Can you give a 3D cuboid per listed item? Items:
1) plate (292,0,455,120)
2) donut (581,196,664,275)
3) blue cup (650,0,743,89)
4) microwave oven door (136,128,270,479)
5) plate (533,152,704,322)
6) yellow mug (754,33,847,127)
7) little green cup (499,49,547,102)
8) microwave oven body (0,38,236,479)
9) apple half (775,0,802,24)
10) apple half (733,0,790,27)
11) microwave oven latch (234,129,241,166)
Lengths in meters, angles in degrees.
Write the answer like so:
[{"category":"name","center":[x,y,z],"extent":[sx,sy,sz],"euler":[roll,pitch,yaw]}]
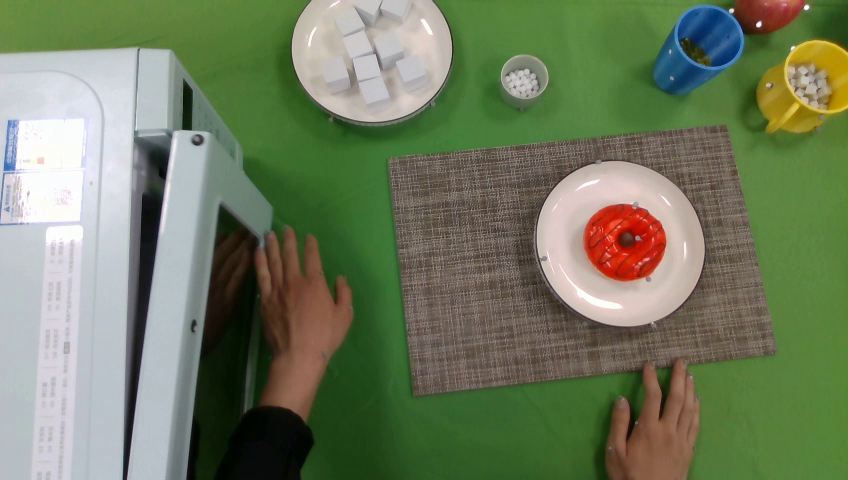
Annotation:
[{"category":"plate","center":[-0.064,-0.250,0.788],"extent":[0.208,0.039,0.206],"euler":[0,79,-2]},{"category":"donut","center":[0.240,-0.006,0.735],"extent":[0.099,0.048,0.098],"euler":[0,79,0]},{"category":"blue cup","center":[0.335,-0.240,0.767],"extent":[0.093,0.100,0.092],"euler":[0,80,-2]},{"category":"microwave oven door","center":[-0.207,0.100,0.592],"extent":[0.039,0.244,0.354],"euler":[2,79,-1]},{"category":"plate","center":[0.235,-0.003,0.745],"extent":[0.209,0.038,0.208],"euler":[0,79,-2]},{"category":"yellow mug","center":[0.484,-0.195,0.781],"extent":[0.100,0.064,0.130],"euler":[41,81,6]},{"category":"little green cup","center":[0.126,-0.211,0.787],"extent":[0.061,0.039,0.061],"euler":[0,78,-1]},{"category":"microwave oven body","center":[-0.372,0.068,0.598],"extent":[0.326,0.261,0.439],"euler":[-3,80,-3]},{"category":"apple half","center":[0.479,-0.325,0.801],"extent":[0.033,0.081,0.081],"euler":[0,78,1]},{"category":"apple half","center":[0.440,-0.324,0.801],"extent":[0.053,0.075,0.080],"euler":[-1,82,1]},{"category":"microwave oven latch","center":[-0.237,-0.094,0.732],"extent":[0.030,0.029,0.079],"euler":[-1,80,-2]}]
